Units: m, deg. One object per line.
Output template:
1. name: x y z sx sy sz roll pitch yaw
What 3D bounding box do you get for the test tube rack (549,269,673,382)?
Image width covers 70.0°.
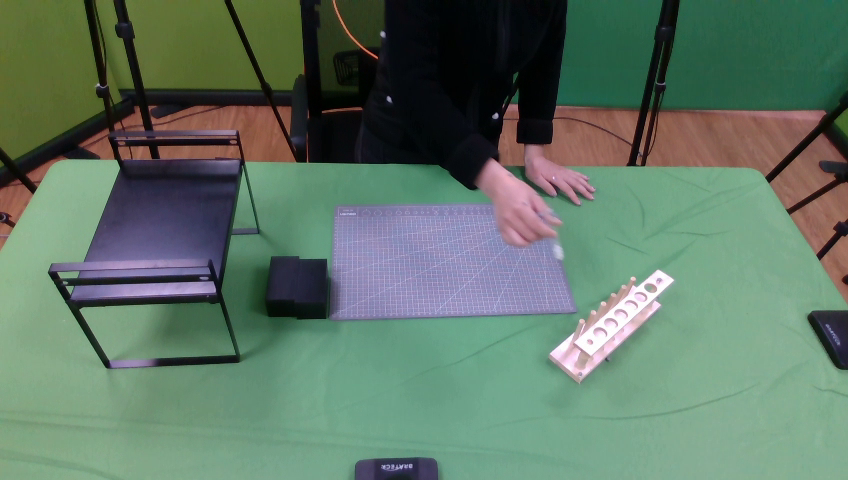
1. test tube rack: 0.325 0.135 1.047 0.242 0.085 0.066 -32 55 -30

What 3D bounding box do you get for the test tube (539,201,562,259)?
1. test tube: 0.196 -0.012 0.933 0.017 0.151 0.017 -10 55 15
